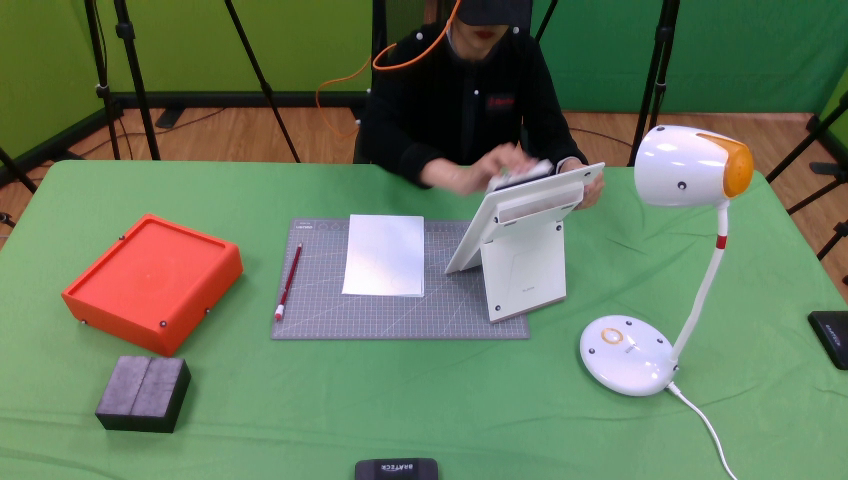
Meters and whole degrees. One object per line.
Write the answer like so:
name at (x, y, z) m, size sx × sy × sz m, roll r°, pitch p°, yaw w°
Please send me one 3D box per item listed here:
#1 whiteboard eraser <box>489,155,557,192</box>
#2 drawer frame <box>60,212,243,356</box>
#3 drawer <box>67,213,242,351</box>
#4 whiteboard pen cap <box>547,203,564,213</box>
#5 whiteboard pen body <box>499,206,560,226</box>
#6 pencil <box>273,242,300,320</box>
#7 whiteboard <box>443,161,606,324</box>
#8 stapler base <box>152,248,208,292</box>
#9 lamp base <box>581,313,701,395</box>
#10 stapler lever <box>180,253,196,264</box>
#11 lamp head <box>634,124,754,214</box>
whiteboard eraser at (0.168, -0.104, 1.024) m, size 0.113 × 0.056 × 0.041 m, roll -20°, pitch 61°, yaw -17°
drawer frame at (-0.462, 0.070, 1.053) m, size 0.201 × 0.083 × 0.213 m, roll 18°, pitch 48°, yaw 12°
drawer at (-0.461, 0.068, 1.057) m, size 0.194 × 0.073 × 0.211 m, roll 19°, pitch 48°, yaw 13°
whiteboard pen cap at (0.277, -0.066, 1.275) m, size 0.033 × 0.018 × 0.018 m, roll -18°, pitch 50°, yaw -15°
whiteboard pen body at (0.221, -0.052, 1.259) m, size 0.141 × 0.017 × 0.017 m, roll -16°, pitch 49°, yaw -16°
pencil at (-0.249, 0.070, 1.115) m, size 0.012 × 0.012 × 0.193 m, roll 5°, pitch 44°, yaw 1°
whiteboard at (0.185, 0.025, 1.028) m, size 0.217 × 0.306 × 0.143 m, roll -15°, pitch 68°, yaw -18°
stapler base at (-0.443, 0.049, 1.101) m, size 0.130 × 0.024 × 0.041 m, roll 32°, pitch 37°, yaw 29°
lamp base at (0.361, 0.144, 0.973) m, size 0.178 × 0.181 × 0.160 m, roll 34°, pitch 53°, yaw 23°
stapler lever at (-0.441, 0.026, 1.086) m, size 0.117 × 0.040 × 0.027 m, roll 30°, pitch 36°, yaw 30°
lamp head at (0.351, -0.089, 0.776) m, size 0.112 × 0.113 × 0.122 m, roll -30°, pitch 30°, yaw -28°
